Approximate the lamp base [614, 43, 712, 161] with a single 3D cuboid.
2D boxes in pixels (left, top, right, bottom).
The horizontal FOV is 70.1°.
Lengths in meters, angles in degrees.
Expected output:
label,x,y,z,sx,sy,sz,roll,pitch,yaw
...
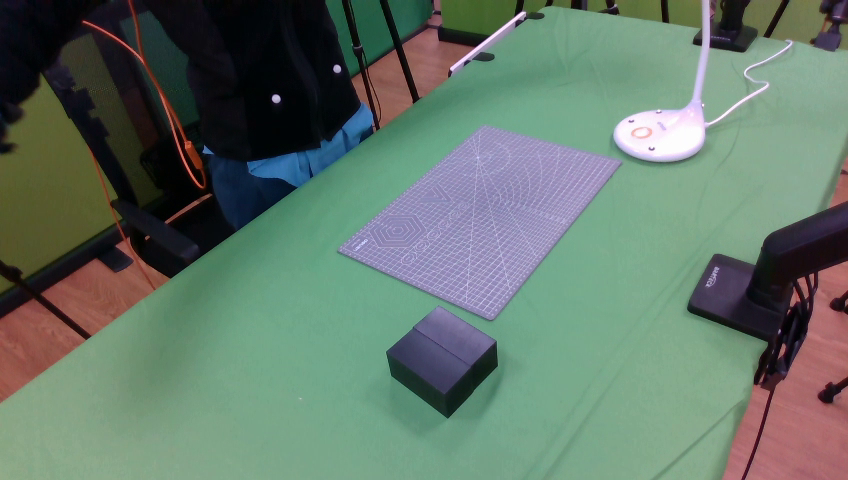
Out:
label,x,y,z,sx,sy,sz,roll,pitch,yaw
lamp base,0.441,-0.257,1.081,0.180,0.181,0.159,-15,41,-12
